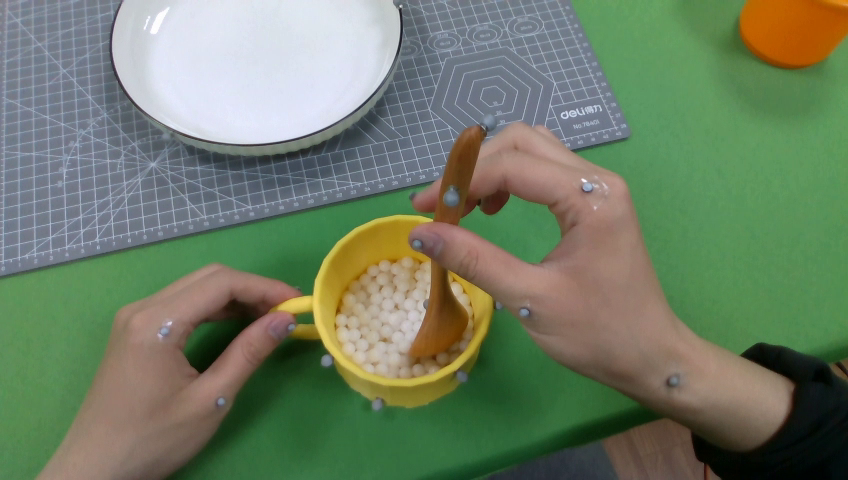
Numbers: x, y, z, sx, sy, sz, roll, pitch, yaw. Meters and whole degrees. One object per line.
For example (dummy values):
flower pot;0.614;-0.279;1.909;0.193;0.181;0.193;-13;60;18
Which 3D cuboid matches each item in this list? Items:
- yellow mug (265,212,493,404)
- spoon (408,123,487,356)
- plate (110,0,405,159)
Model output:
yellow mug;-0.027;0.043;0.357;0.131;0.064;0.099;-5;66;-3
spoon;0.010;0.013;0.294;0.041;0.195;0.021;-26;59;-18
plate;-0.118;-0.145;0.449;0.208;0.039;0.206;1;66;-2
